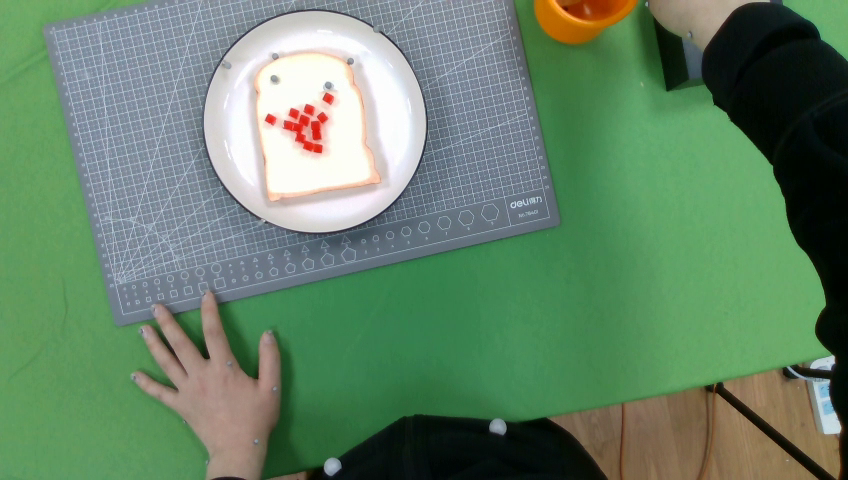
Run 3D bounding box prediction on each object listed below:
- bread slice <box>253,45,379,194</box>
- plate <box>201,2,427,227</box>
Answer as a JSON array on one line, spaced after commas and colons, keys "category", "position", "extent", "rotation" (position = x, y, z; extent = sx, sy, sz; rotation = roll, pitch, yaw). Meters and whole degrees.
[{"category": "bread slice", "position": [-0.109, -0.116, 0.577], "extent": [0.107, 0.018, 0.134], "rotation": [-13, 92, -2]}, {"category": "plate", "position": [-0.101, -0.116, 0.576], "extent": [0.209, 0.038, 0.209], "rotation": [0, 92, -2]}]
